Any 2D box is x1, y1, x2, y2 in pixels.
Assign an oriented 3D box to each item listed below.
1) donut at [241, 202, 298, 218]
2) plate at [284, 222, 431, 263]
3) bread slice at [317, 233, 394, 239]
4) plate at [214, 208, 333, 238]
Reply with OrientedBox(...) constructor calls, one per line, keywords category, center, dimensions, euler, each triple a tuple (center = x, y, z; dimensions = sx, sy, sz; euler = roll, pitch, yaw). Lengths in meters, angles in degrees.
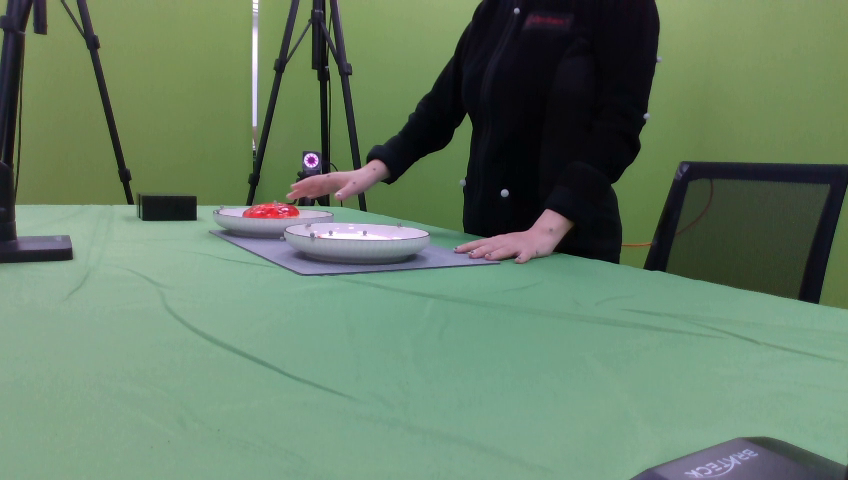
OrientedBox(category="donut", center=(-0.270, -0.040, 1.057), dimensions=(0.099, 0.048, 0.099), euler=(0, 11, 0))
OrientedBox(category="plate", center=(-0.094, 0.003, 0.868), dimensions=(0.209, 0.038, 0.209), euler=(2, 7, 0))
OrientedBox(category="bread slice", center=(-0.096, 0.004, 0.863), dimensions=(0.107, 0.018, 0.133), euler=(-1, 7, -31))
OrientedBox(category="plate", center=(-0.268, -0.032, 1.084), dimensions=(0.208, 0.039, 0.207), euler=(2, 7, 0))
